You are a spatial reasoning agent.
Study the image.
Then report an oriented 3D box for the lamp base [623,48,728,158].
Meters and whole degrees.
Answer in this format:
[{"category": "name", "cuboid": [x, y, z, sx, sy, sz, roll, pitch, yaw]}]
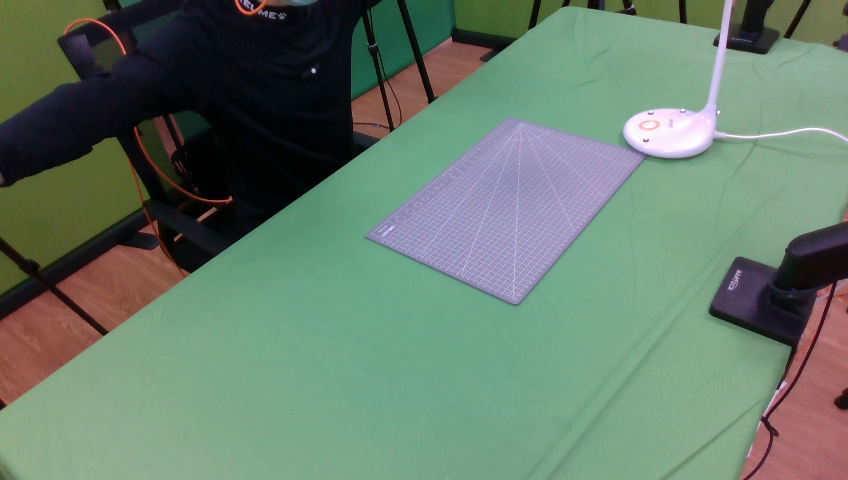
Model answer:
[{"category": "lamp base", "cuboid": [0.462, -0.261, 1.084, 0.179, 0.181, 0.160, 3, 42, 7]}]
